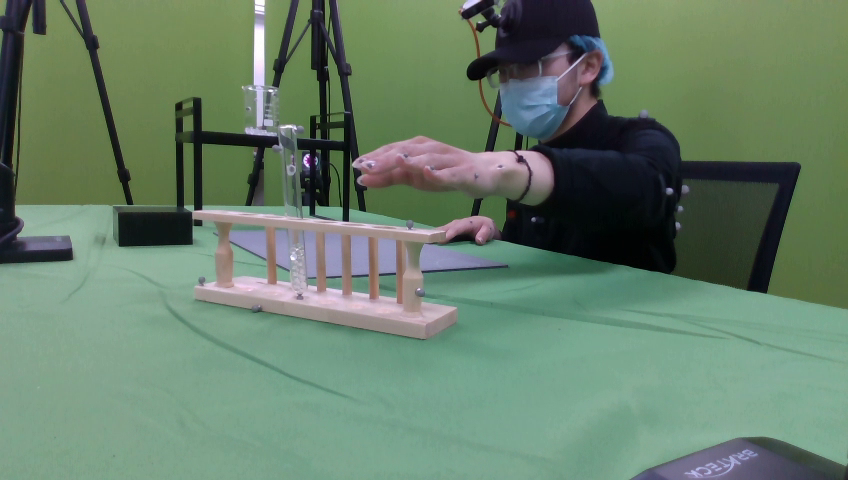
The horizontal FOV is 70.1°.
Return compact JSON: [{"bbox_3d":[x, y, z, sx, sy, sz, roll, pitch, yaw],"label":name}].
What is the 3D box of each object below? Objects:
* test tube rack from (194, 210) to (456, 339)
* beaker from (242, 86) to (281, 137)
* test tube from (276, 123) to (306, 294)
[{"bbox_3d":[-0.093,0.023,0.545,0.241,0.085,0.067,6,8,25],"label":"test tube rack"},{"bbox_3d":[-0.338,-0.265,1.252,0.073,0.100,0.084,8,9,38],"label":"beaker"},{"bbox_3d":[-0.117,-0.026,0.532,0.017,0.150,0.017,-3,7,1],"label":"test tube"}]
